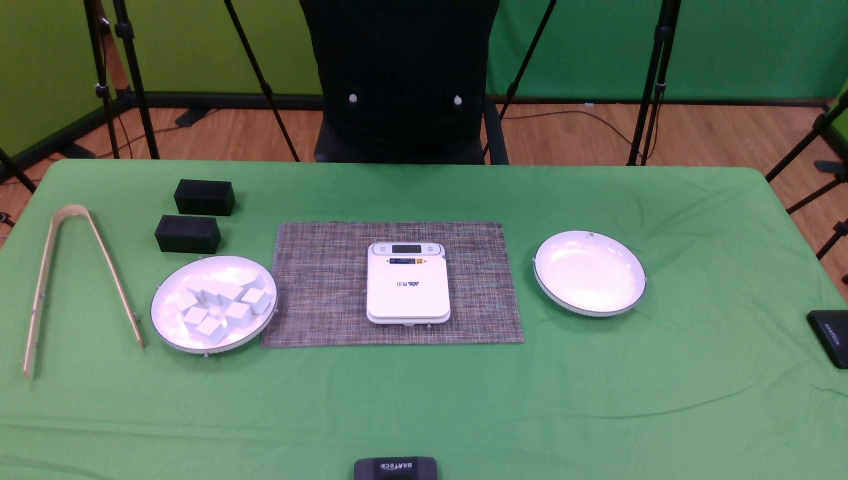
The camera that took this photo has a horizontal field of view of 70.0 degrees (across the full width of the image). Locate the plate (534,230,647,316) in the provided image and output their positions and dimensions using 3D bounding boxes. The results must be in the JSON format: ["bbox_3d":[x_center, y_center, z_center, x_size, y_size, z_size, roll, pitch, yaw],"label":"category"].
[{"bbox_3d":[0.310,0.065,1.145,0.209,0.038,0.208,2,45,-2],"label":"plate"}]

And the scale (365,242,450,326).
[{"bbox_3d":[-0.032,0.071,1.113,0.149,0.032,0.199,1,46,-4],"label":"scale"}]

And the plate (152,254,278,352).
[{"bbox_3d":[-0.357,0.111,1.052,0.208,0.039,0.206,2,46,-2],"label":"plate"}]

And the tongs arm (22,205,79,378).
[{"bbox_3d":[-0.652,0.074,1.067,0.051,0.026,0.382,-11,46,-15],"label":"tongs arm"}]

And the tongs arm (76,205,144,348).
[{"bbox_3d":[-0.570,0.054,1.098,0.028,0.028,0.385,-26,52,-22],"label":"tongs arm"}]
